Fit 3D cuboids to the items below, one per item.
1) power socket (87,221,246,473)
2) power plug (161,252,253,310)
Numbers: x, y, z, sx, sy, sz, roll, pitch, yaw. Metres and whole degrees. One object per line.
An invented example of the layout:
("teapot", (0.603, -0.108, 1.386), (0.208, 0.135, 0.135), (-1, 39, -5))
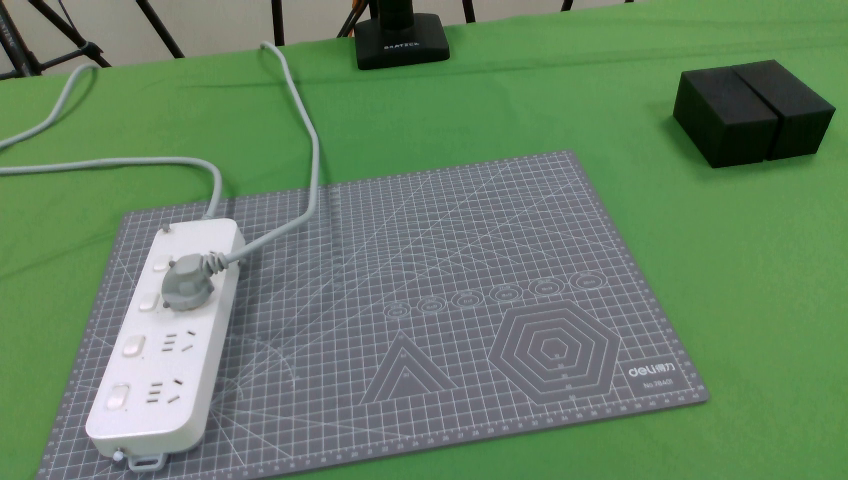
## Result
("power socket", (-0.188, 0.064, 0.465), (0.072, 0.033, 0.224), (-4, 43, -1))
("power plug", (-0.162, 0.037, 0.455), (0.072, 0.053, 0.035), (1, 45, 9))
